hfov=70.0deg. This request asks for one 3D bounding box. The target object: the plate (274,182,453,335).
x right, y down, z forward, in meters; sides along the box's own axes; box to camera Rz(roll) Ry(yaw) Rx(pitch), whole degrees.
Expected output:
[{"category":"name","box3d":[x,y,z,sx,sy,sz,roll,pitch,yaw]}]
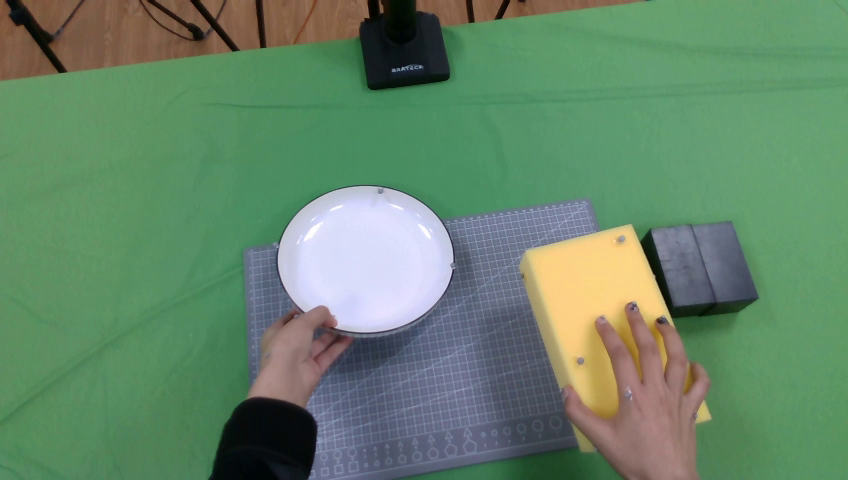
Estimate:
[{"category":"plate","box3d":[-0.070,0.022,0.722,0.209,0.038,0.207,3,56,-5]}]

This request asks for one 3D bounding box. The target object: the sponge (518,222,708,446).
[{"category":"sponge","box3d":[0.188,0.096,0.627,0.118,0.061,0.205,-15,71,-5]}]
